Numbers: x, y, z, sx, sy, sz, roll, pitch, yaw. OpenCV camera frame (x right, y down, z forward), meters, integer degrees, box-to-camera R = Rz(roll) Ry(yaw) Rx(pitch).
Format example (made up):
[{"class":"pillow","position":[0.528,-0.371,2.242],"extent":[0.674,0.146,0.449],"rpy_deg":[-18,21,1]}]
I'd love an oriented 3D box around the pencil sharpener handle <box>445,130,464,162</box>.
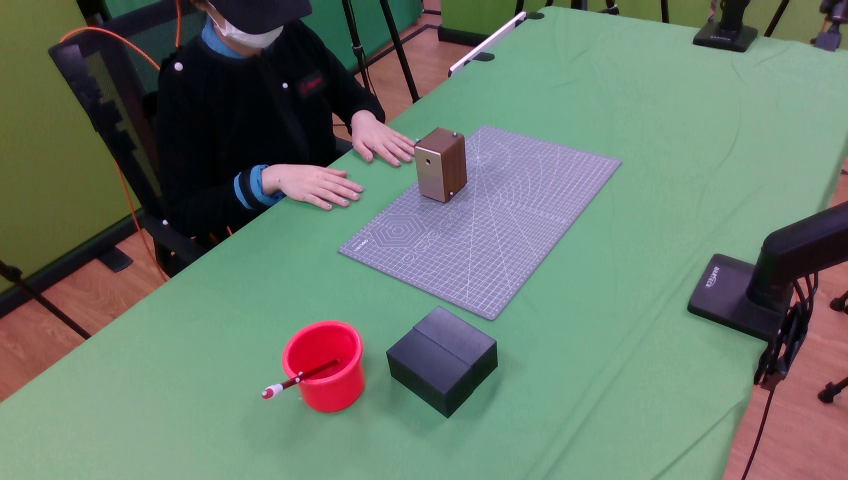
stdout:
[{"class":"pencil sharpener handle","position":[0.059,-0.171,1.070],"extent":[0.036,0.068,0.031],"rpy_deg":[26,50,25]}]

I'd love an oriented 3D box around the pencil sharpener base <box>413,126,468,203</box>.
[{"class":"pencil sharpener base","position":[0.032,-0.132,1.047],"extent":[0.061,0.107,0.077],"rpy_deg":[21,48,30]}]

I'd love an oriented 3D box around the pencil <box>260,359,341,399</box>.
[{"class":"pencil","position":[-0.137,0.157,0.706],"extent":[0.012,0.012,0.195],"rpy_deg":[6,1,16]}]
